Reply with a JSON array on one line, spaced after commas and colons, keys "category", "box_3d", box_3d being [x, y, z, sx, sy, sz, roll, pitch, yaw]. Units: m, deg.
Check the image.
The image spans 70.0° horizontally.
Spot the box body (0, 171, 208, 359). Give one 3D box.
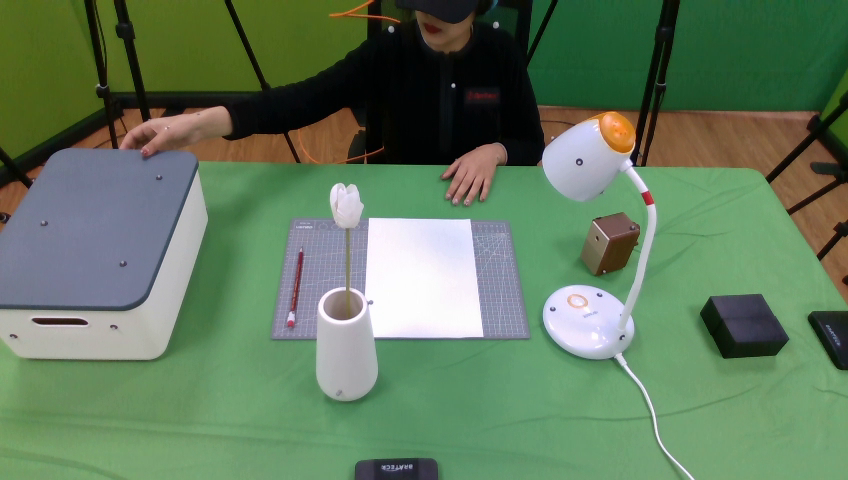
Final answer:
[{"category": "box body", "box_3d": [-0.541, 0.021, 1.042, 0.254, 0.161, 0.361, 1, 46, -3]}]

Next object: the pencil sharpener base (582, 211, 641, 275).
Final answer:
[{"category": "pencil sharpener base", "box_3d": [0.357, 0.005, 1.156, 0.077, 0.107, 0.061, -15, 48, -17]}]

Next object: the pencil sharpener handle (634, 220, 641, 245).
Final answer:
[{"category": "pencil sharpener handle", "box_3d": [0.405, -0.015, 1.161, 0.031, 0.068, 0.035, -15, 44, -17]}]

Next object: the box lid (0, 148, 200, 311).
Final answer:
[{"category": "box lid", "box_3d": [-0.536, -0.034, 0.989, 0.263, 0.015, 0.369, 1, 45, -3]}]

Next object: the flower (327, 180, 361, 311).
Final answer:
[{"category": "flower", "box_3d": [-0.110, 0.087, 0.867, 0.044, 0.363, 0.038, 22, 33, 36]}]

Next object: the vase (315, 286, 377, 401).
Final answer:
[{"category": "vase", "box_3d": [-0.119, 0.159, 0.911, 0.098, 0.201, 0.097, 2, 47, -2]}]

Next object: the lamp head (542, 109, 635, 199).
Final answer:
[{"category": "lamp head", "box_3d": [0.253, -0.131, 0.893, 0.113, 0.123, 0.112, 10, 66, -24]}]

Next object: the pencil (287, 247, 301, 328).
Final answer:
[{"category": "pencil", "box_3d": [-0.236, 0.081, 1.107, 0.012, 0.012, 0.193, 0, 45, -4]}]

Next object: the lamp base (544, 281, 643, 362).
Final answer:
[{"category": "lamp base", "box_3d": [0.304, 0.095, 1.014, 0.161, 0.181, 0.178, -24, 54, -24]}]
